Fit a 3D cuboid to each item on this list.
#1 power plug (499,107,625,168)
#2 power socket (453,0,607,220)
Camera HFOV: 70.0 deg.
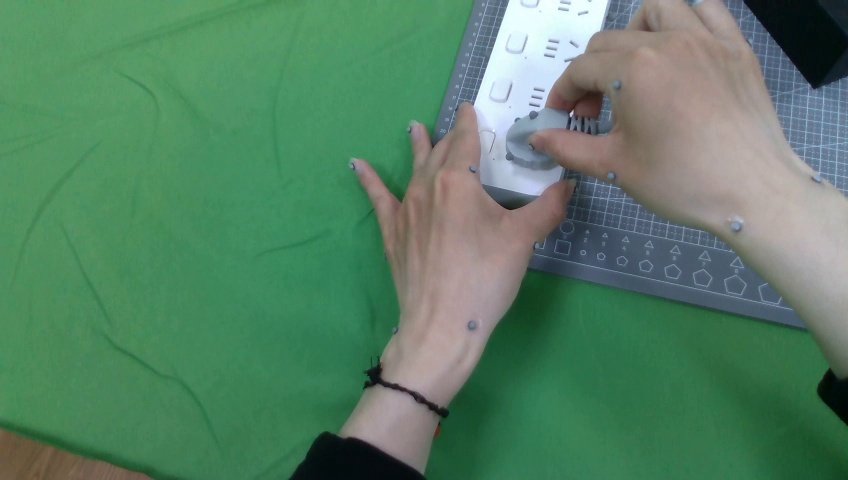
[{"bbox_3d":[0.082,-0.055,0.381,0.072,0.053,0.035,26,71,18],"label":"power plug"},{"bbox_3d":[0.080,-0.120,0.435,0.072,0.033,0.225,15,69,11],"label":"power socket"}]
